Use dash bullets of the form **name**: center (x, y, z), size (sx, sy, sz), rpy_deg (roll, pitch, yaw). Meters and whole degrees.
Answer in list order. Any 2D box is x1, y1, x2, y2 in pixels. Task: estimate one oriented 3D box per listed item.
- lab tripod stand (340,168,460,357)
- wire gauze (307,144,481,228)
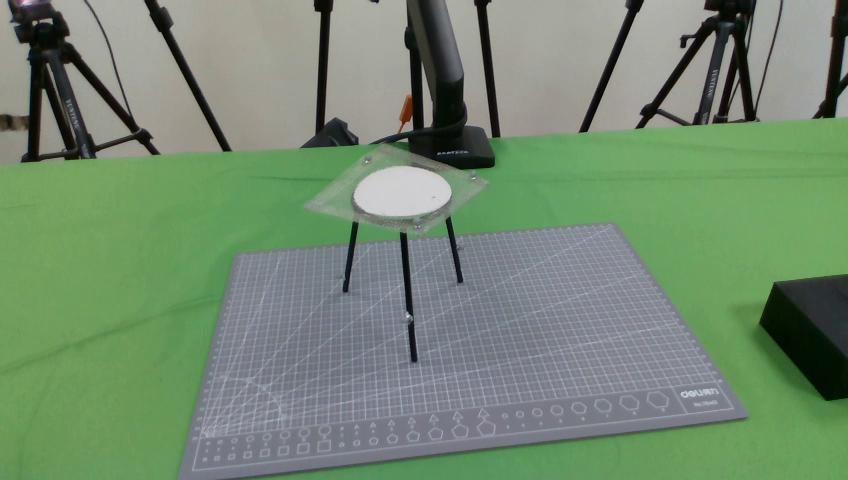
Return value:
- **lab tripod stand**: center (-0.020, 0.013, 0.566), size (0.148, 0.132, 0.147), rpy_deg (1, 35, 0)
- **wire gauze**: center (-0.019, -0.053, 0.516), size (0.125, 0.011, 0.120), rpy_deg (12, 32, 5)
